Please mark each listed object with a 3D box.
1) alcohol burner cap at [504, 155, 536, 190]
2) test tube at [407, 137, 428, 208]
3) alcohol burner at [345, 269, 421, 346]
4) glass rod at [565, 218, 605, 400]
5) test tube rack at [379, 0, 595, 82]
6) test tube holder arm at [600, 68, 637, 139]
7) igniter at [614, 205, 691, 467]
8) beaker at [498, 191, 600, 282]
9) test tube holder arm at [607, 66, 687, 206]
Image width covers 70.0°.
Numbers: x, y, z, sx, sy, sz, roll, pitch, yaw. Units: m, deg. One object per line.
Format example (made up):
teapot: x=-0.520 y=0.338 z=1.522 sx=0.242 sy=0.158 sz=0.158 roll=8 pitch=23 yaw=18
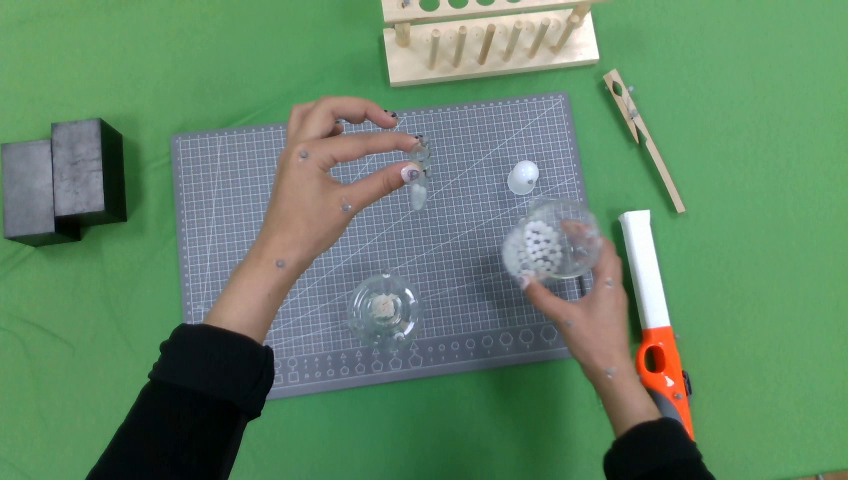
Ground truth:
alcohol burner cap: x=0.107 y=-0.076 z=0.661 sx=0.034 sy=0.048 sz=0.033 roll=0 pitch=81 yaw=-2
test tube: x=-0.006 y=-0.052 z=0.507 sx=0.017 sy=0.150 sz=0.017 roll=0 pitch=78 yaw=-1
alcohol burner: x=-0.041 y=0.064 z=0.596 sx=0.078 sy=0.119 sz=0.077 roll=0 pitch=78 yaw=-1
glass rod: x=0.173 y=0.072 z=0.656 sx=0.008 sy=0.008 sz=0.199 roll=-8 pitch=81 yaw=-4
test tube rack: x=0.075 y=-0.235 z=0.666 sx=0.242 sy=0.085 sz=0.066 roll=-7 pitch=81 yaw=-3
test tube holder arm: x=0.227 y=-0.156 z=0.695 sx=0.010 sy=0.015 sz=0.087 roll=-29 pitch=83 yaw=29
igniter: x=0.244 y=0.099 z=0.648 sx=0.057 sy=0.025 sz=0.275 roll=-5 pitch=81 yaw=-13
beaker: x=0.113 y=0.000 z=0.589 sx=0.074 sy=0.100 sz=0.084 roll=-32 pitch=85 yaw=-11
test tube holder arm: x=0.251 y=-0.119 z=0.687 sx=0.013 sy=0.015 sz=0.178 roll=-31 pitch=82 yaw=28
